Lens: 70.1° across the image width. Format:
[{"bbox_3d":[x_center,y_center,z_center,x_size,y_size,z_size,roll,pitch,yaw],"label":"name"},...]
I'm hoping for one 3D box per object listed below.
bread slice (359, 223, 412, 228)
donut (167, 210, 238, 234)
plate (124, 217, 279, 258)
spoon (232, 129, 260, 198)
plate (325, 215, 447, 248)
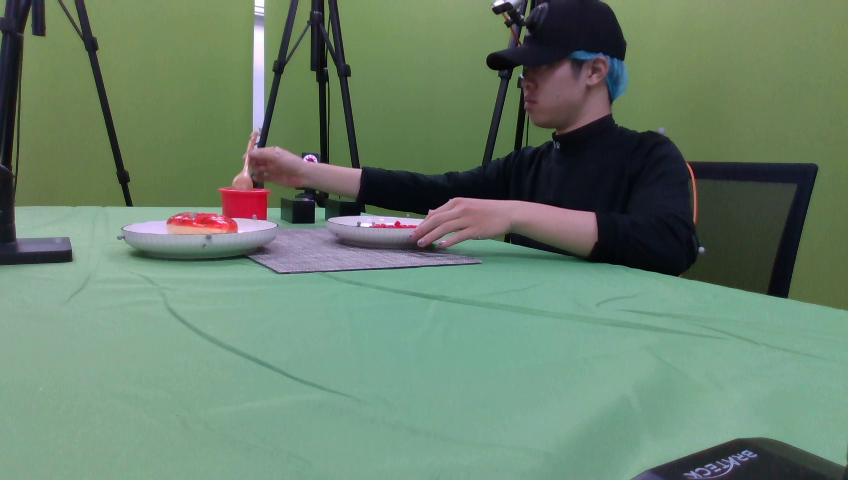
[{"bbox_3d":[-0.062,-0.013,1.034,0.105,0.019,0.131,0,9,-19],"label":"bread slice"},{"bbox_3d":[-0.321,-0.017,0.882,0.099,0.048,0.099,3,6,0],"label":"donut"},{"bbox_3d":[-0.315,-0.004,0.871,0.208,0.039,0.207,1,8,0],"label":"plate"},{"bbox_3d":[-0.358,-0.161,1.229,0.042,0.021,0.193,23,42,-26],"label":"spoon"},{"bbox_3d":[-0.065,-0.015,1.035,0.209,0.038,0.209,3,8,0],"label":"plate"}]
